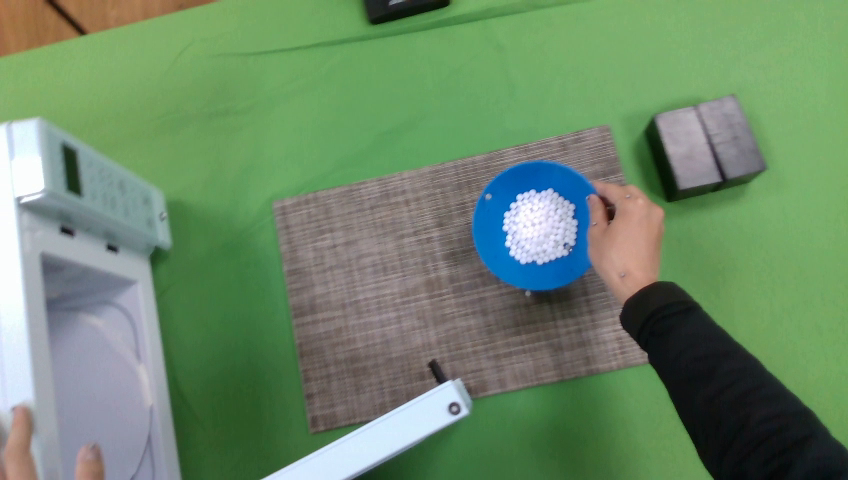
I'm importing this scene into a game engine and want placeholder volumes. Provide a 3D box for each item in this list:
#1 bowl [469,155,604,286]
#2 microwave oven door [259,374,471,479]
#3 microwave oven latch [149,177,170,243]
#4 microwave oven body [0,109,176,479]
[{"bbox_3d":[0.133,-0.018,0.716,0.151,0.077,0.151,-1,84,12],"label":"bowl"},{"bbox_3d":[-0.119,0.229,0.591,0.356,0.245,0.039,-28,76,-2],"label":"microwave oven door"},{"bbox_3d":[-0.346,-0.038,0.769,0.030,0.029,0.079,-14,78,1],"label":"microwave oven latch"},{"bbox_3d":[-0.458,0.144,0.640,0.326,0.261,0.439,-14,78,1],"label":"microwave oven body"}]
